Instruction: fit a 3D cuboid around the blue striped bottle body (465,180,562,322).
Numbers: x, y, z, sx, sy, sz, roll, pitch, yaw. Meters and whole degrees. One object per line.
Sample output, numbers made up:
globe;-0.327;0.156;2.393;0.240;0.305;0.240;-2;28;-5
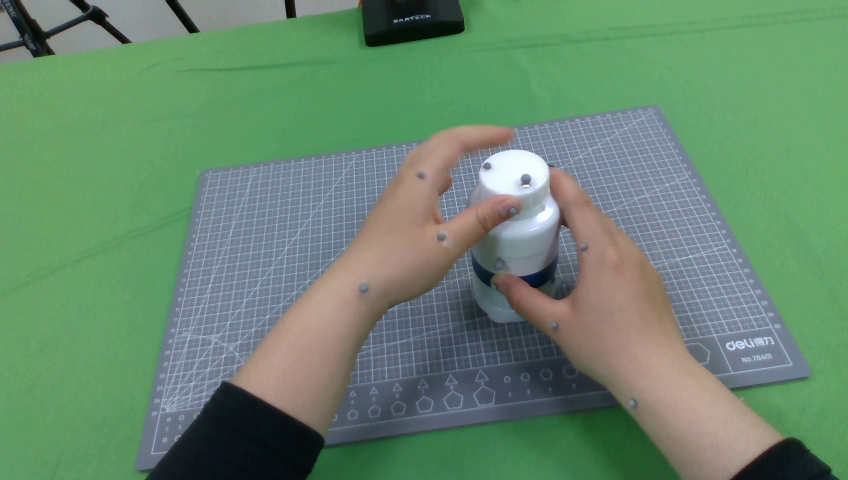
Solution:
blue striped bottle body;0.061;-0.002;0.418;0.063;0.122;0.062;-4;48;4

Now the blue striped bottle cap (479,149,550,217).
blue striped bottle cap;0.057;-0.037;0.379;0.044;0.021;0.044;-4;50;5
